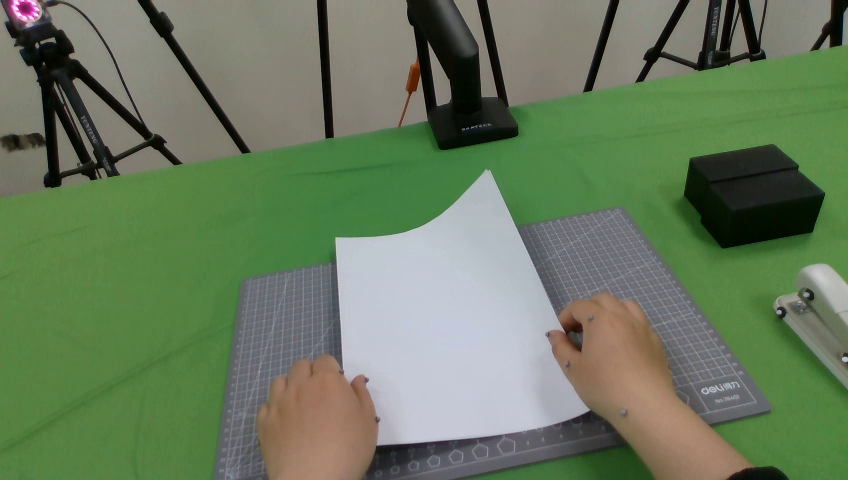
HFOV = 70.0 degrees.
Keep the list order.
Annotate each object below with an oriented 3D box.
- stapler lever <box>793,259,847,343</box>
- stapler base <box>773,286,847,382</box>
[{"bbox_3d":[0.352,0.062,0.500,0.027,0.040,0.116,-14,39,-3],"label":"stapler lever"},{"bbox_3d":[0.354,0.080,0.516,0.041,0.025,0.129,-14,40,-3],"label":"stapler base"}]
